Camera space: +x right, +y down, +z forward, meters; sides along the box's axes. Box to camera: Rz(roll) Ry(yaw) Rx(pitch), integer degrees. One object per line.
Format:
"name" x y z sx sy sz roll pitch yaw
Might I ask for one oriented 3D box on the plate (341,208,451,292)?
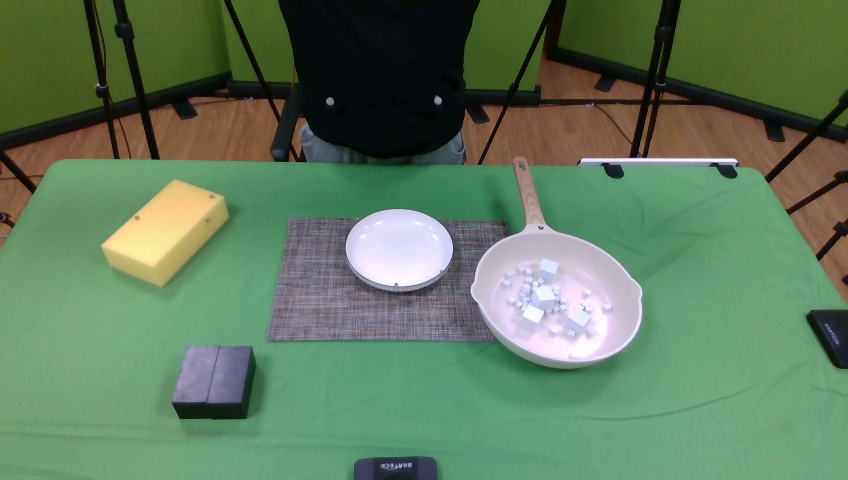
"plate" -0.053 0.022 1.156 0.208 0.039 0.206 2 46 -2

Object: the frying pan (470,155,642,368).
"frying pan" 0.222 0.022 1.134 0.307 0.103 0.484 0 55 -7

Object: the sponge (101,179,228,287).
"sponge" -0.486 -0.018 1.151 0.118 0.061 0.206 19 47 12
